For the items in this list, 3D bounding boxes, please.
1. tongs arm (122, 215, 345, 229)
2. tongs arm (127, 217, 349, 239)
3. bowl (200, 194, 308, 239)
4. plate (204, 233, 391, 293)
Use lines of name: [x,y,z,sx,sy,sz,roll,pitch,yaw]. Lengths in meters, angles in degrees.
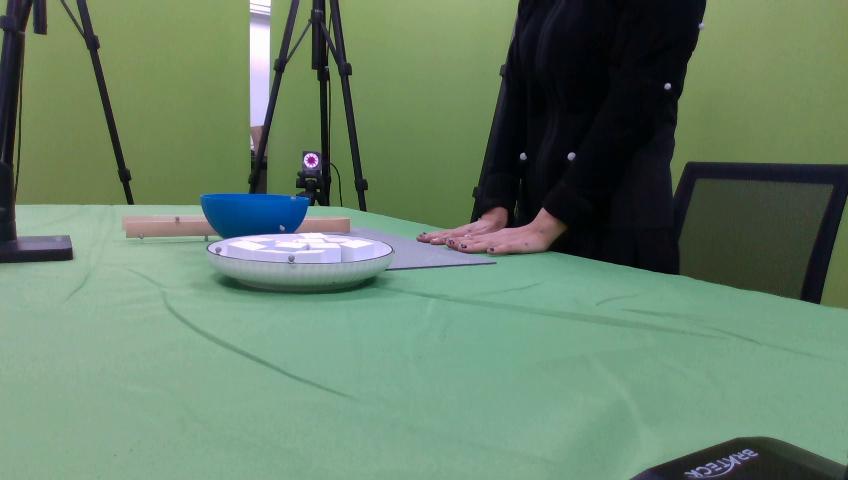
tongs arm: [-0.336,-0.032,1.103,0.389,0.027,0.028,0,1,-19]
tongs arm: [-0.294,-0.023,1.027,0.387,0.026,0.050,-3,5,-34]
bowl: [-0.245,-0.025,0.879,0.151,0.077,0.151,2,7,0]
plate: [-0.143,0.025,0.697,0.208,0.039,0.207,3,9,0]
